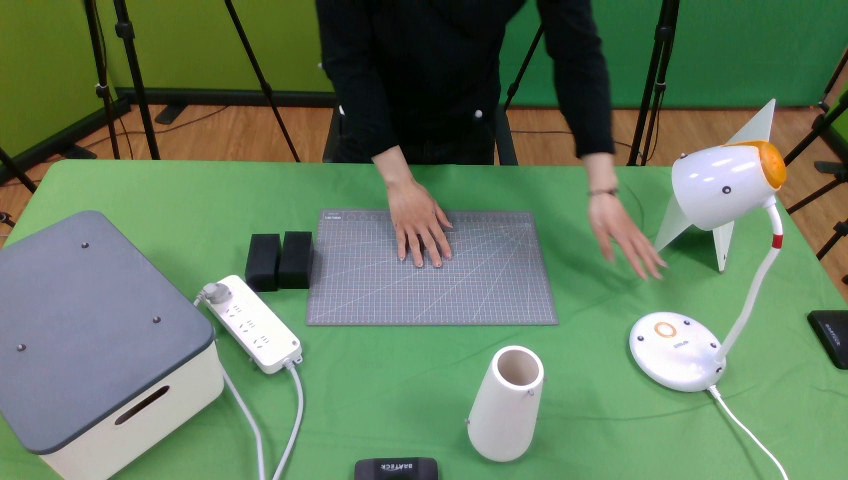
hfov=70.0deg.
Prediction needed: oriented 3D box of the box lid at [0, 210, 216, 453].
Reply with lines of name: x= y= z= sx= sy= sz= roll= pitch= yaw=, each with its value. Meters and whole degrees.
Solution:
box lid: x=-0.504 y=0.102 z=0.863 sx=0.369 sy=0.015 sz=0.263 roll=35 pitch=53 yaw=26

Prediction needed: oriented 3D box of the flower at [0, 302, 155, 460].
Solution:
flower: x=-0.553 y=0.222 z=0.944 sx=0.361 sy=0.038 sz=0.044 roll=39 pitch=62 yaw=6

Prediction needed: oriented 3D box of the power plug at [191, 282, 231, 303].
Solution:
power plug: x=-0.368 y=0.097 z=1.038 sx=0.072 sy=0.053 sz=0.035 roll=-27 pitch=55 yaw=-21

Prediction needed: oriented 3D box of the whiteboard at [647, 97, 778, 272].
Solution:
whiteboard: x=0.602 y=-0.079 z=1.162 sx=0.144 sy=0.306 sz=0.216 roll=35 pitch=51 yaw=2

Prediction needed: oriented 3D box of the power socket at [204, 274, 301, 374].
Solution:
power socket: x=-0.296 y=0.140 z=1.035 sx=0.072 sy=0.033 sz=0.225 roll=-33 pitch=57 yaw=-29

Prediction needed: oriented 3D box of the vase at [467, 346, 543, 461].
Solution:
vase: x=0.116 y=0.234 z=0.861 sx=0.098 sy=0.201 sz=0.097 roll=1 pitch=47 yaw=-1

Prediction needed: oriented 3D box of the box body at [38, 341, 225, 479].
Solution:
box body: x=-0.506 y=0.155 z=0.915 sx=0.362 sy=0.161 sz=0.254 roll=35 pitch=54 yaw=26

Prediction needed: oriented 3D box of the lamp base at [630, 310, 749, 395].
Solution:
lamp base: x=0.447 y=0.142 z=0.984 sx=0.161 sy=0.181 sz=0.178 roll=-24 pitch=55 yaw=-24

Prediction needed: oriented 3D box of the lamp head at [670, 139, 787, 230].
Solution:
lamp head: x=0.415 y=-0.079 z=0.812 sx=0.113 sy=0.123 sz=0.112 roll=13 pitch=70 yaw=-37
